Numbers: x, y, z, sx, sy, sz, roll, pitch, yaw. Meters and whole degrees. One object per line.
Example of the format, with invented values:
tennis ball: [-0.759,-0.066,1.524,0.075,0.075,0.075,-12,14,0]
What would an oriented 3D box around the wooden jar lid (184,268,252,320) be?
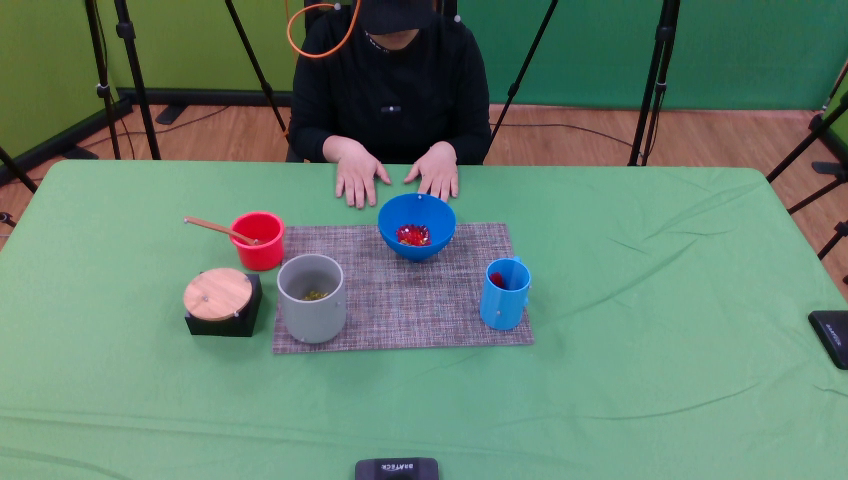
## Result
wooden jar lid: [-0.343,0.092,1.015,0.108,0.021,0.107,3,46,-3]

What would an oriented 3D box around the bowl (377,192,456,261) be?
bowl: [-0.015,-0.013,1.166,0.151,0.077,0.150,2,46,-2]

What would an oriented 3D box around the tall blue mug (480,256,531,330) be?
tall blue mug: [0.140,0.084,1.061,0.078,0.108,0.106,-2,46,-4]

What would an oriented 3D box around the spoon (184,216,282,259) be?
spoon: [-0.341,-0.008,1.096,0.021,0.195,0.041,-36,47,25]

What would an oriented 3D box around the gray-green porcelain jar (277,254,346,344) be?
gray-green porcelain jar: [-0.184,0.102,1.008,0.106,0.127,0.105,2,46,-2]
